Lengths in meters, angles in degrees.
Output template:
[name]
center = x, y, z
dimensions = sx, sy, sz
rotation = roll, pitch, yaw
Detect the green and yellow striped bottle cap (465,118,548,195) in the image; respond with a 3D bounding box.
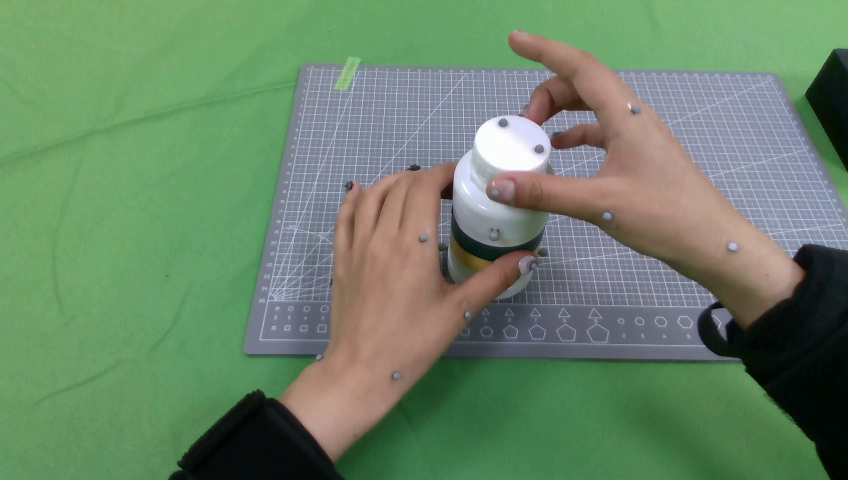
[green and yellow striped bottle cap]
center = 0.047, -0.048, 0.345
dimensions = 0.045, 0.020, 0.045
rotation = 3, 53, -3

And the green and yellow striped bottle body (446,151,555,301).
[green and yellow striped bottle body]
center = 0.047, -0.016, 0.391
dimensions = 0.063, 0.120, 0.062
rotation = 0, 54, 0
